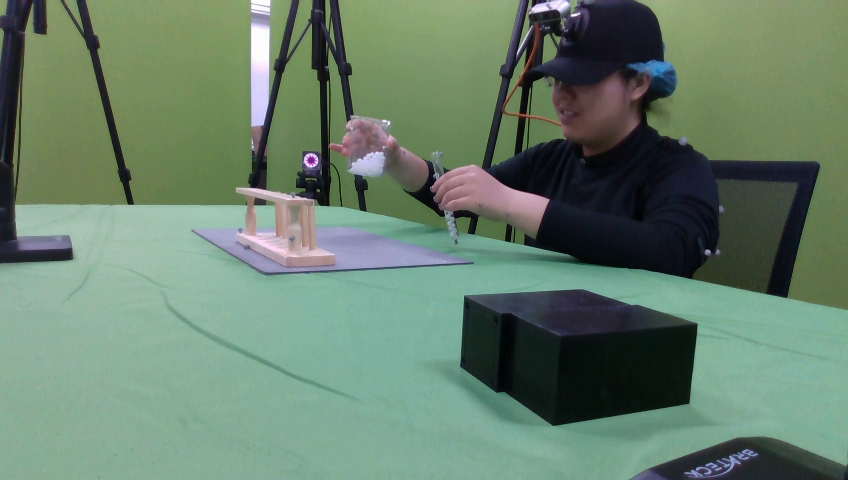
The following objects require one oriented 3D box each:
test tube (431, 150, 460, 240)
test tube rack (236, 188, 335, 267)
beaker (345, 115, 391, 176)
[{"bbox_3d":[0.036,-0.073,0.991,0.017,0.150,0.017,-13,1,1],"label":"test tube"},{"bbox_3d":[-0.202,-0.024,0.855,0.067,0.085,0.241,-2,8,-31],"label":"test tube rack"},{"bbox_3d":[-0.099,-0.166,1.070,0.083,0.100,0.074,19,16,40],"label":"beaker"}]
